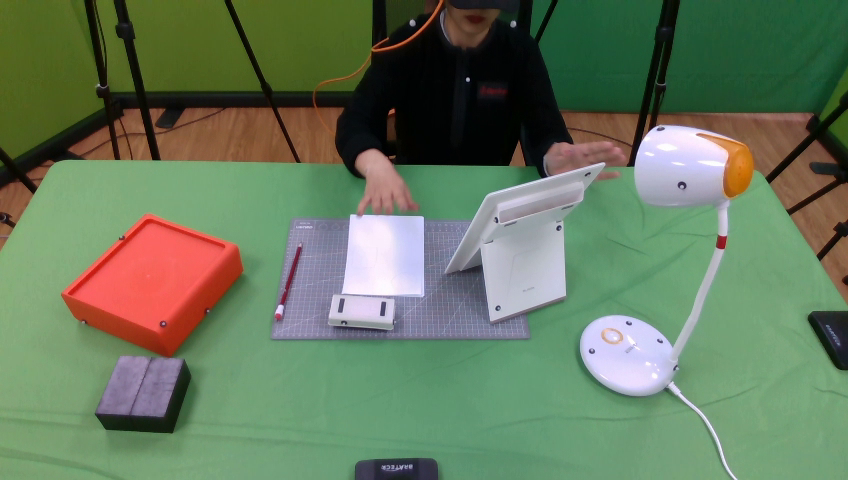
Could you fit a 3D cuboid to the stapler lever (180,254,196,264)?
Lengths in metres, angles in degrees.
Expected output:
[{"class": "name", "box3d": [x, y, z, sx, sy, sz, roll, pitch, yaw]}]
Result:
[{"class": "stapler lever", "box3d": [-0.440, 0.026, 1.086, 0.117, 0.040, 0.027, 30, 36, 30]}]

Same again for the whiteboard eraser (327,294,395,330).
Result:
[{"class": "whiteboard eraser", "box3d": [-0.108, 0.127, 1.049, 0.113, 0.042, 0.055, 4, 45, 0]}]

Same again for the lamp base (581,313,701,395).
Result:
[{"class": "lamp base", "box3d": [0.361, 0.144, 0.972, 0.178, 0.181, 0.160, 34, 53, 23]}]

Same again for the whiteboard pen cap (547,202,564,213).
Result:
[{"class": "whiteboard pen cap", "box3d": [0.277, -0.066, 1.275, 0.033, 0.018, 0.018, -18, 50, -15]}]

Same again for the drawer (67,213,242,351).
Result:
[{"class": "drawer", "box3d": [-0.461, 0.068, 1.056, 0.194, 0.073, 0.211, 19, 48, 13]}]

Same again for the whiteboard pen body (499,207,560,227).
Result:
[{"class": "whiteboard pen body", "box3d": [0.222, -0.051, 1.259, 0.141, 0.017, 0.017, -16, 49, -16]}]

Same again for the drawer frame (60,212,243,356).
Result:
[{"class": "drawer frame", "box3d": [-0.462, 0.070, 1.053, 0.201, 0.083, 0.213, 18, 48, 12]}]

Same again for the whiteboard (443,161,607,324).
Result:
[{"class": "whiteboard", "box3d": [0.185, 0.026, 1.028, 0.217, 0.306, 0.143, -15, 68, -18]}]

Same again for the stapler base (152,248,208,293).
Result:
[{"class": "stapler base", "box3d": [-0.443, 0.049, 1.101, 0.130, 0.024, 0.041, 33, 37, 29]}]

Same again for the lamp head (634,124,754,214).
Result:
[{"class": "lamp head", "box3d": [0.351, -0.089, 0.775, 0.112, 0.113, 0.122, -30, 30, -28]}]

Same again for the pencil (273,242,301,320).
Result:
[{"class": "pencil", "box3d": [-0.249, 0.070, 1.115, 0.012, 0.012, 0.193, 5, 44, 1]}]
